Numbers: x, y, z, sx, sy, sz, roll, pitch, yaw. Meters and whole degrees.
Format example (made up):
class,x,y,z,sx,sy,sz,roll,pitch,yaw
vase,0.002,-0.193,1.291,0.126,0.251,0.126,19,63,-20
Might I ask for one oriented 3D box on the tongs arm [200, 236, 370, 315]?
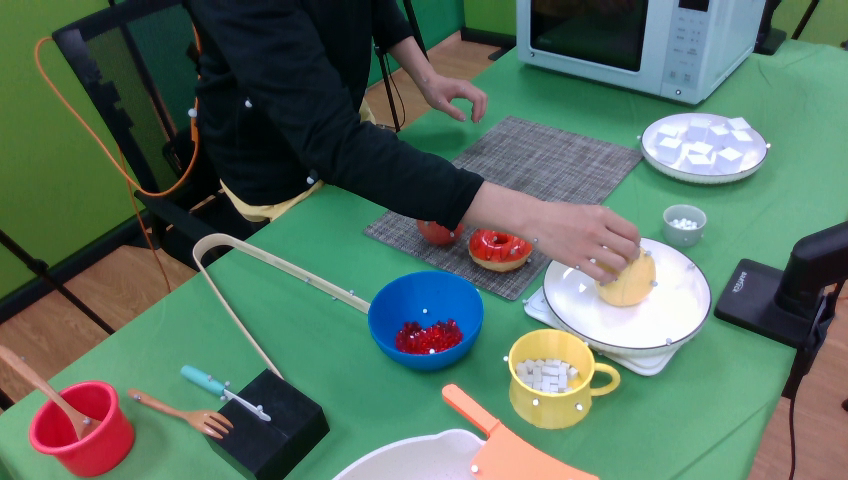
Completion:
class,x,y,z,sx,sy,sz,roll,pitch,yaw
tongs arm,-0.209,0.062,0.924,0.381,0.026,0.051,23,53,32

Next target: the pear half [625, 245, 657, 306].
class,x,y,z,sx,sy,sz,roll,pitch,yaw
pear half,0.279,0.047,0.766,0.031,0.088,0.070,16,44,22

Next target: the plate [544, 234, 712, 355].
class,x,y,z,sx,sy,sz,roll,pitch,yaw
plate,0.262,0.072,0.792,0.209,0.038,0.208,-4,41,4

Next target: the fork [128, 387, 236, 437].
class,x,y,z,sx,sy,sz,roll,pitch,yaw
fork,-0.305,0.207,0.744,0.206,0.019,0.028,3,40,36

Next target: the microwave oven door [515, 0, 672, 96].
class,x,y,z,sx,sy,sz,roll,pitch,yaw
microwave oven door,0.343,-0.455,1.259,0.353,0.245,0.039,26,51,33

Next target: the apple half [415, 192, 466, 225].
class,x,y,z,sx,sy,sz,roll,pitch,yaw
apple half,0.028,-0.042,0.974,0.081,0.075,0.053,-4,37,7

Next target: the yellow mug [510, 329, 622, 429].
class,x,y,z,sx,sy,sz,roll,pitch,yaw
yellow mug,0.168,0.164,0.721,0.130,0.064,0.099,0,40,8

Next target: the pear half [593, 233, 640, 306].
class,x,y,z,sx,sy,sz,roll,pitch,yaw
pear half,0.247,0.029,0.775,0.055,0.110,0.076,19,43,23

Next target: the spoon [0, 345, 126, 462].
class,x,y,z,sx,sy,sz,roll,pitch,yaw
spoon,-0.434,0.192,0.720,0.194,0.021,0.042,47,53,-6

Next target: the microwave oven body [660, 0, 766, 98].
class,x,y,z,sx,sy,sz,roll,pitch,yaw
microwave oven body,0.472,-0.513,1.317,0.438,0.261,0.327,26,51,34

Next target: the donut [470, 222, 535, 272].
class,x,y,z,sx,sy,sz,roll,pitch,yaw
donut,0.119,0.009,0.923,0.099,0.048,0.098,-4,38,3

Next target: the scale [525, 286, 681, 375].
class,x,y,z,sx,sy,sz,roll,pitch,yaw
scale,0.254,0.091,0.821,0.199,0.032,0.149,27,51,35

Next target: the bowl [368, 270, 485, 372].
class,x,y,z,sx,sy,sz,roll,pitch,yaw
bowl,0.007,0.119,0.791,0.151,0.077,0.150,-5,39,4

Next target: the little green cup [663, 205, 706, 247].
class,x,y,z,sx,sy,sz,roll,pitch,yaw
little green cup,0.396,-0.020,0.926,0.061,0.039,0.061,-4,40,4

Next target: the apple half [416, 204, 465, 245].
class,x,y,z,sx,sy,sz,roll,pitch,yaw
apple half,0.027,-0.018,0.943,0.081,0.081,0.032,-4,36,4

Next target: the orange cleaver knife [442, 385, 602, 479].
class,x,y,z,sx,sy,sz,roll,pitch,yaw
orange cleaver knife,0.085,0.219,0.612,0.209,0.012,0.077,28,49,35

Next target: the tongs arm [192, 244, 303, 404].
class,x,y,z,sx,sy,sz,roll,pitch,yaw
tongs arm,-0.268,0.110,0.883,0.028,0.028,0.384,-36,47,-18

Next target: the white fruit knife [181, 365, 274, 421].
class,x,y,z,sx,sy,sz,roll,pitch,yaw
white fruit knife,-0.245,0.188,0.747,0.205,0.027,0.016,9,41,41

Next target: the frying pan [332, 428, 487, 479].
class,x,y,z,sx,sy,sz,roll,pitch,yaw
frying pan,-0.089,0.306,0.564,0.487,0.103,0.306,9,41,7

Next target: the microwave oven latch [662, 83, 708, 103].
class,x,y,z,sx,sy,sz,roll,pitch,yaw
microwave oven latch,0.518,-0.296,1.204,0.078,0.029,0.030,28,52,35

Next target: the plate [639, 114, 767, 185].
class,x,y,z,sx,sy,sz,roll,pitch,yaw
plate,0.489,-0.157,1.074,0.207,0.039,0.206,-4,40,4
